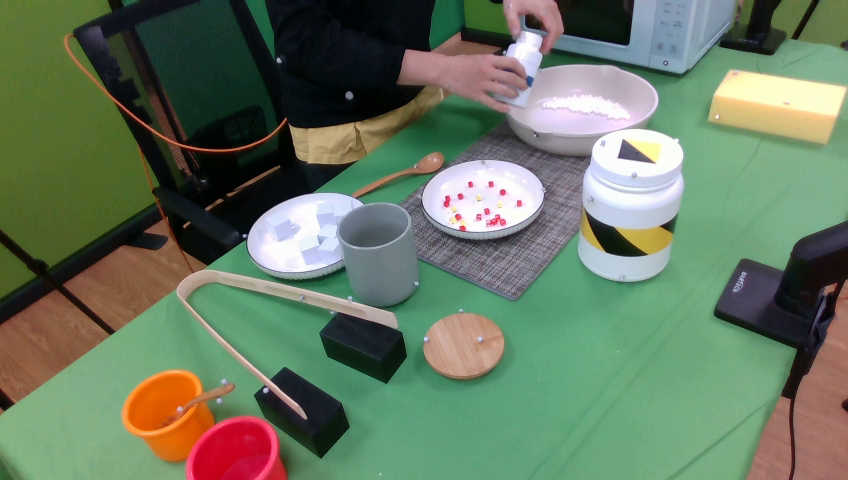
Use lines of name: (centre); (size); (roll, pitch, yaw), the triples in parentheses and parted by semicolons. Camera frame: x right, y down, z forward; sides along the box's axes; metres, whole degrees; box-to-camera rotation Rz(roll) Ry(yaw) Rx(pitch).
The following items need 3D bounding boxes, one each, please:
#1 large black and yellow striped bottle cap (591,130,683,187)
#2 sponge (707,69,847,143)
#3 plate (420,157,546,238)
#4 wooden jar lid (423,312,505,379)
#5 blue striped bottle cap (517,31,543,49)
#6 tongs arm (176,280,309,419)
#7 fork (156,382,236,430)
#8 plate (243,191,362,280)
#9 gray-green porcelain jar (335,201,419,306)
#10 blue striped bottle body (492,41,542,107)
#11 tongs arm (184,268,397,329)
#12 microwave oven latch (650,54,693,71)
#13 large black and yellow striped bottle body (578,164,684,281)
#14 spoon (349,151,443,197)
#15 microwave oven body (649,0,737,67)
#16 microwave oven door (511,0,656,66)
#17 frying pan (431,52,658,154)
large black and yellow striped bottle cap: (0.282, -0.111, 0.803); (0.115, 0.019, 0.114); (-3, 41, 3)
sponge: (0.663, -0.256, 1.141); (0.205, 0.061, 0.118); (18, 47, 28)
plate: (0.099, -0.067, 1.017); (0.209, 0.038, 0.208); (-4, 40, 4)
wooden jar lid: (0.053, 0.142, 0.800); (0.108, 0.021, 0.108); (-5, 39, 4)
blue striped bottle cap: (0.186, -0.352, 1.064); (0.044, 0.020, 0.044); (16, 7, -2)
tongs arm: (-0.254, 0.133, 0.801); (0.028, 0.028, 0.384); (-41, 41, -23)
fork: (-0.262, 0.189, 0.690); (0.018, 0.206, 0.028); (49, 43, -7)
plate: (-0.187, -0.005, 0.992); (0.207, 0.039, 0.206); (-4, 40, 4)
gray-green porcelain jar: (-0.064, 0.024, 0.872); (0.106, 0.127, 0.105); (-4, 41, 4)
blue striped bottle body: (0.169, -0.304, 1.074); (0.063, 0.121, 0.063); (18, 10, -3)
tongs arm: (-0.202, 0.084, 0.848); (0.382, 0.027, 0.051); (11, 45, 35)
microwave oven latch: (0.531, -0.386, 1.301); (0.078, 0.029, 0.030); (26, 51, 33)
large black and yellow striped bottle body: (0.292, -0.046, 0.859); (0.131, 0.185, 0.130); (-4, 41, 4)
spoon: (-0.051, -0.122, 1.120); (0.194, 0.022, 0.041); (-22, 62, -18)
microwave oven body: (0.475, -0.602, 1.411); (0.438, 0.261, 0.327); (23, 50, 32)
microwave oven door: (0.351, -0.540, 1.349); (0.353, 0.245, 0.039); (24, 50, 31)
frying pan: (0.216, -0.302, 1.224); (0.484, 0.103, 0.308); (29, 50, 24)
